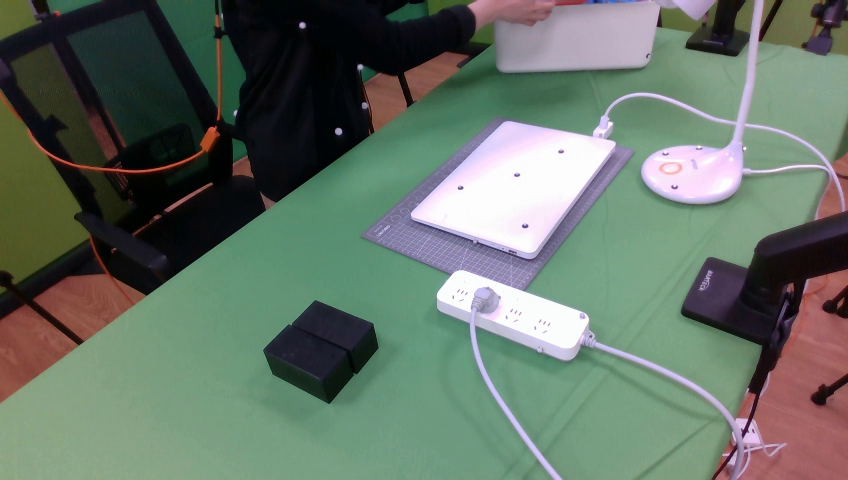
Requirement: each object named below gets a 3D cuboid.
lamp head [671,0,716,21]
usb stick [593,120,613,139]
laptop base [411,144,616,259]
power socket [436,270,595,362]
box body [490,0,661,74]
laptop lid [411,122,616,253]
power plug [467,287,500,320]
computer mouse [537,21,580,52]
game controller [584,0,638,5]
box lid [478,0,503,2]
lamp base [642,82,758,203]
[{"bbox_3d":[0.375,-0.373,0.807,0.122,0.113,0.112,-40,27,32],"label":"lamp head"},{"bbox_3d":[0.336,-0.201,1.147,0.021,0.027,0.059,26,53,27],"label":"usb stick"},{"bbox_3d":[0.168,-0.102,1.074,0.234,0.023,0.355,17,45,30],"label":"laptop base"},{"bbox_3d":[0.118,0.101,0.832,0.225,0.033,0.072,19,48,27],"label":"power socket"},{"bbox_3d":[0.346,-0.520,1.429,0.363,0.161,0.253,0,41,9],"label":"box body"},{"bbox_3d":[0.164,-0.111,1.067,0.240,0.013,0.357,19,46,31],"label":"laptop lid"},{"bbox_3d":[0.073,0.092,0.814,0.035,0.053,0.073,29,54,34],"label":"power plug"},{"bbox_3d":[0.335,-0.503,1.488,0.118,0.041,0.062,21,20,-28],"label":"computer mouse"},{"bbox_3d":[0.427,-0.548,1.425,0.155,0.052,0.096,-16,44,-10],"label":"game controller"},{"bbox_3d":[0.298,-0.583,1.262,0.370,0.015,0.262,-3,48,13],"label":"box lid"},{"bbox_3d":[0.464,-0.174,0.992,0.179,0.181,0.159,-5,41,-1],"label":"lamp base"}]
